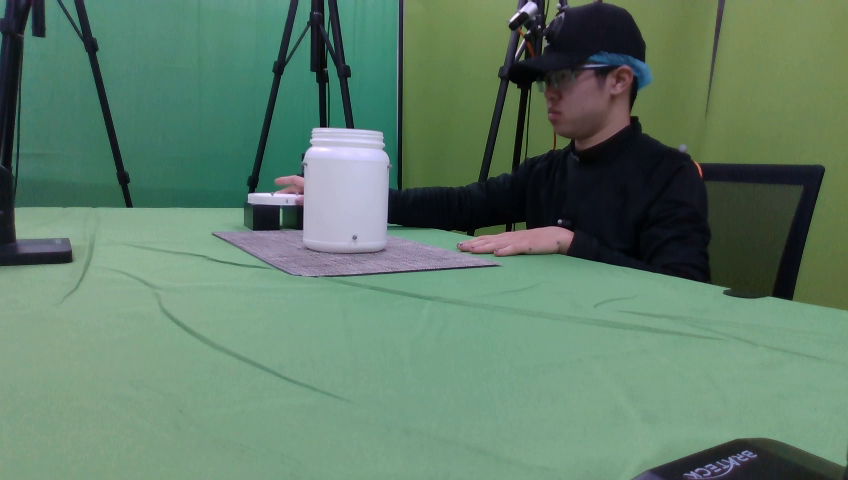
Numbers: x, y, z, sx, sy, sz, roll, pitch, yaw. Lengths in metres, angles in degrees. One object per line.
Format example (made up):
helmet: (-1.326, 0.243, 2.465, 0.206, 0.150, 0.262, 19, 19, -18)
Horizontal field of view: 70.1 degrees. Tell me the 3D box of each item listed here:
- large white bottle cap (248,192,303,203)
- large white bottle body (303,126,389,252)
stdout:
large white bottle cap: (-0.295, -0.084, 1.215, 0.115, 0.018, 0.115, 2, 7, 0)
large white bottle body: (-0.120, -0.080, 0.936, 0.131, 0.184, 0.130, 2, 7, 0)
